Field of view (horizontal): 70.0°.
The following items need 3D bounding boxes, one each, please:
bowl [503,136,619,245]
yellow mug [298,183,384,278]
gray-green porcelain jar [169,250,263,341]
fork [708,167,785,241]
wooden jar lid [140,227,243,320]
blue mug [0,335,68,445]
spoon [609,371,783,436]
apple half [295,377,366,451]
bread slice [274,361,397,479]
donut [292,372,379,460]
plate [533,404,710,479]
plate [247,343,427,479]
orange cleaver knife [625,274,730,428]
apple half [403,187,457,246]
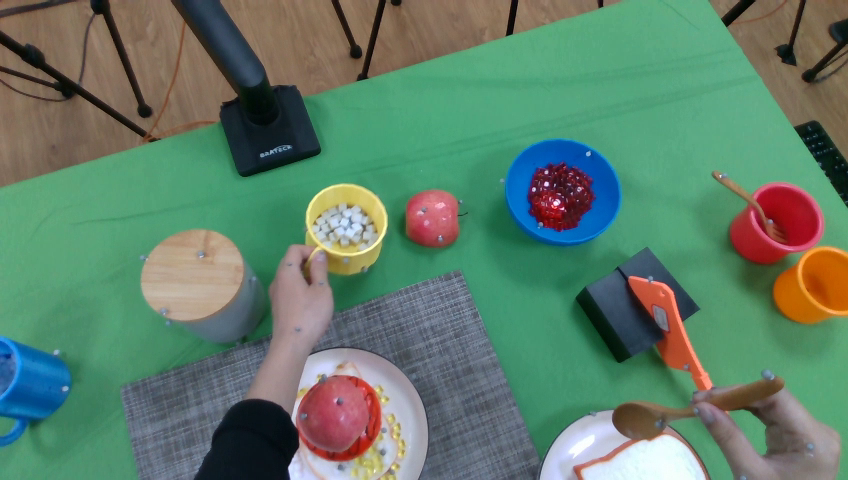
[{"bbox_3d":[0.175,-0.054,0.813,0.151,0.077,0.150,1,70,-1],"label":"bowl"},{"bbox_3d":[-0.113,-0.003,0.763,0.100,0.064,0.130,37,64,6],"label":"yellow mug"},{"bbox_3d":[-0.255,0.061,0.729,0.106,0.127,0.105,1,68,-1],"label":"gray-green porcelain jar"},{"bbox_3d":[0.419,-0.045,0.781,0.209,0.018,0.028,28,63,-37],"label":"fork"},{"bbox_3d":[-0.254,0.038,0.669,0.108,0.021,0.107,1,66,-3],"label":"wooden jar lid"},{"bbox_3d":[-0.477,0.174,0.689,0.082,0.106,0.115,1,69,-2],"label":"blue mug"},{"bbox_3d":[0.207,0.132,0.479,0.041,0.194,0.021,43,64,5],"label":"spoon"},{"bbox_3d":[-0.103,0.188,0.660,0.081,0.033,0.080,-2,67,5],"label":"apple half"},{"bbox_3d":[-0.096,0.225,0.717,0.107,0.018,0.133,-36,73,-13],"label":"bread slice"},{"bbox_3d":[-0.101,0.200,0.694,0.099,0.048,0.098,0,71,-1],"label":"donut"},{"bbox_3d":[0.227,0.299,0.702,0.209,0.038,0.207,0,69,-1],"label":"plate"},{"bbox_3d":[-0.100,0.227,0.714,0.208,0.039,0.206,1,69,-2],"label":"plate"},{"bbox_3d":[0.309,0.134,0.744,0.012,0.077,0.211,-29,94,-19],"label":"orange cleaver knife"},{"bbox_3d":[0.008,-0.037,0.815,0.074,0.054,0.080,2,69,2],"label":"apple half"}]
